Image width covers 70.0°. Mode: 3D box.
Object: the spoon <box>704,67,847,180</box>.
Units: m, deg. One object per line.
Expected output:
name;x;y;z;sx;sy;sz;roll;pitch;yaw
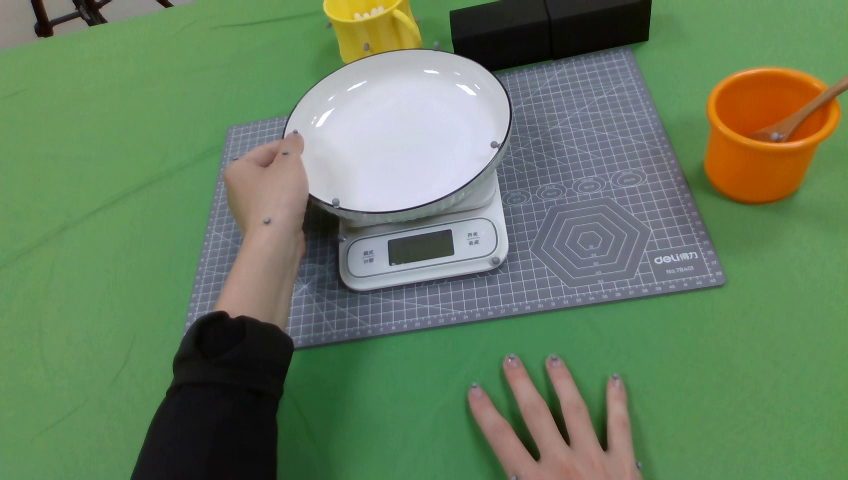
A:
spoon;0.298;-0.107;0.451;0.022;0.194;0.041;15;50;-30

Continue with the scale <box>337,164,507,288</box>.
scale;-0.008;-0.053;0.559;0.148;0.032;0.199;-10;53;8

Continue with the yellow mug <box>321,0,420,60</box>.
yellow mug;-0.052;-0.253;0.700;0.129;0.064;0.100;34;69;31

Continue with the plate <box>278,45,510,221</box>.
plate;-0.026;-0.097;0.550;0.209;0.038;0.207;-4;54;7
